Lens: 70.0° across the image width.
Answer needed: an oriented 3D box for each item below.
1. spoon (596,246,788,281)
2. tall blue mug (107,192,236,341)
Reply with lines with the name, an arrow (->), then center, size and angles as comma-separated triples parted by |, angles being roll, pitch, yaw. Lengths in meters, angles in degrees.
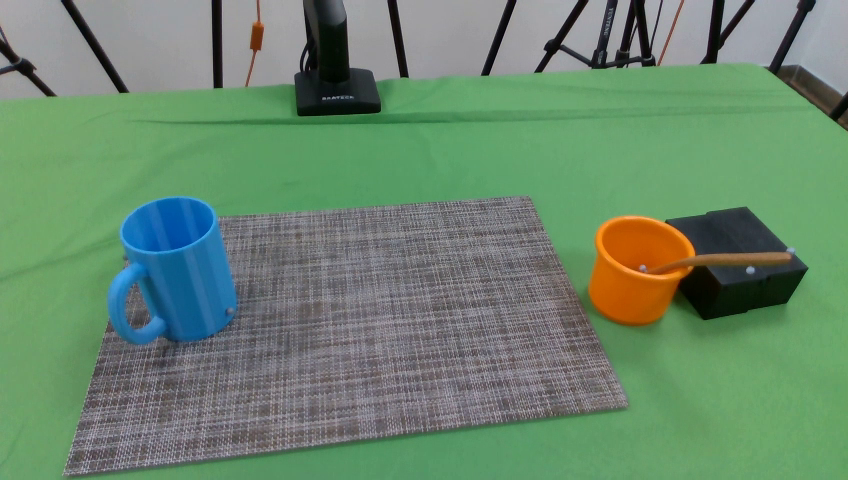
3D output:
spoon -> 0.231, 0.020, 0.549 | 0.042, 0.193, 0.021 | -21, 90, -29
tall blue mug -> -0.216, 0.033, 0.528 | 0.078, 0.109, 0.106 | 2, 42, -3
